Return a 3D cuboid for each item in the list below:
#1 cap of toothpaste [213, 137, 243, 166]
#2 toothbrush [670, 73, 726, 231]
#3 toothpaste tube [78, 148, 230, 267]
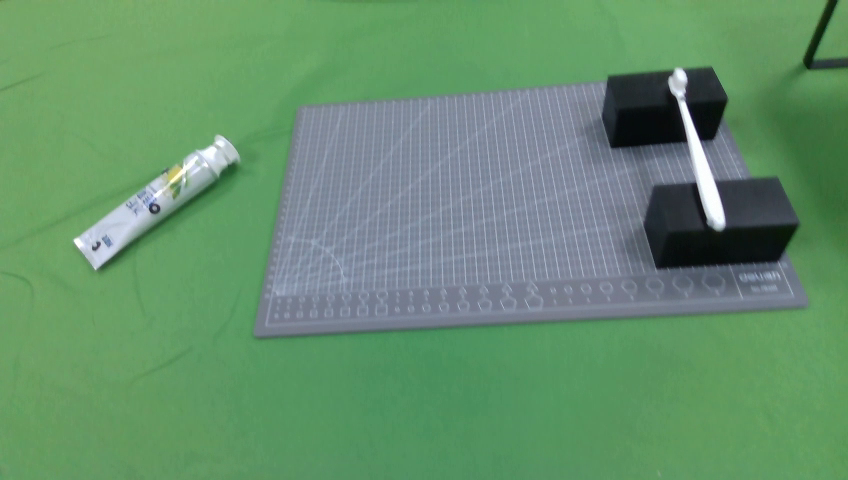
[{"bbox_3d":[-0.205,-0.090,0.629,0.037,0.038,0.011,25,57,25],"label":"cap of toothpaste"},{"bbox_3d":[0.232,-0.081,0.515,0.014,0.017,0.180,6,53,-2],"label":"toothbrush"},{"bbox_3d":[-0.263,-0.040,0.603,0.165,0.035,0.054,-42,51,-20],"label":"toothpaste tube"}]
